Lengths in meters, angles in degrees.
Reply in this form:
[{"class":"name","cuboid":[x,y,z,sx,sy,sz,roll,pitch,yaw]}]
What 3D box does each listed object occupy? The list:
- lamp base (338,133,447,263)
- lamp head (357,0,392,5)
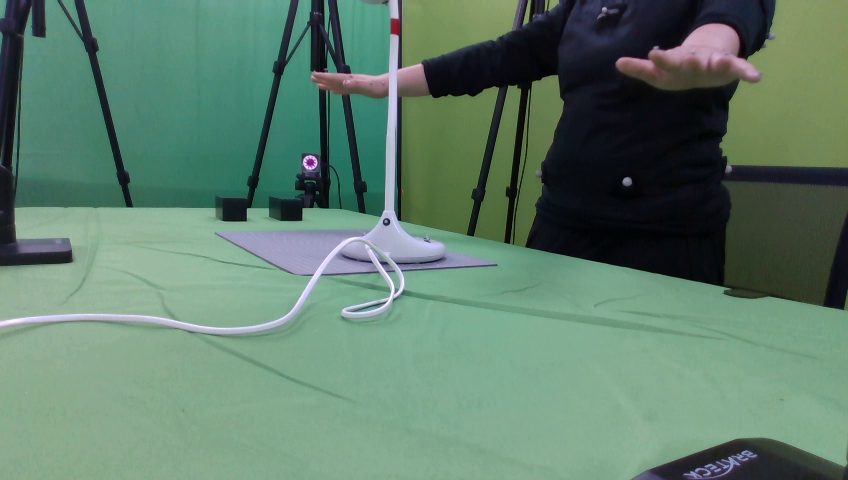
[{"class":"lamp base","cuboid":[-0.043,-0.062,0.868,0.161,0.180,0.179,2,10,-3]},{"class":"lamp head","cuboid":[-0.056,-0.383,0.819,0.113,0.112,0.122,0,13,-22]}]
